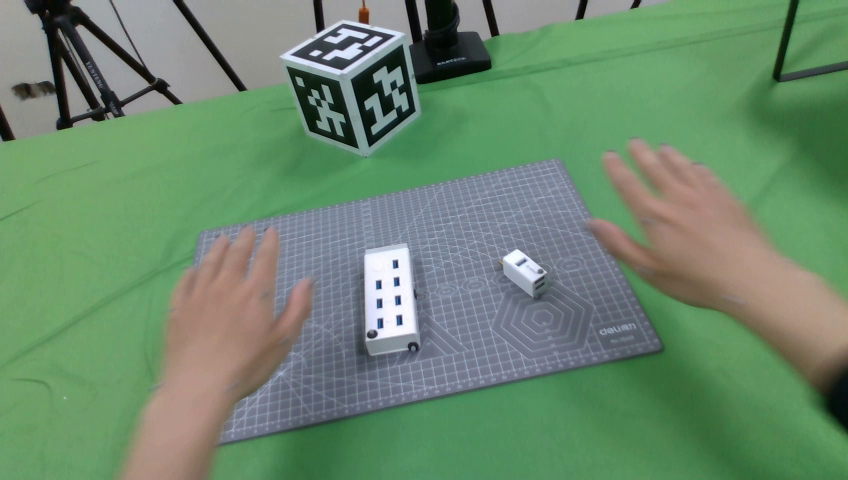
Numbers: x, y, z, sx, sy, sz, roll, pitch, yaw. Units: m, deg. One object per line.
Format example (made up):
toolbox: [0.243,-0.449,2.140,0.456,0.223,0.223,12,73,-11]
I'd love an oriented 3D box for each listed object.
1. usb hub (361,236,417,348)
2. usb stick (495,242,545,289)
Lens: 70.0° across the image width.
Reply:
usb hub: [-0.037,0.048,0.601,0.049,0.025,0.124,-10,43,3]
usb stick: [0.092,0.021,0.600,0.021,0.027,0.058,-32,44,-18]
